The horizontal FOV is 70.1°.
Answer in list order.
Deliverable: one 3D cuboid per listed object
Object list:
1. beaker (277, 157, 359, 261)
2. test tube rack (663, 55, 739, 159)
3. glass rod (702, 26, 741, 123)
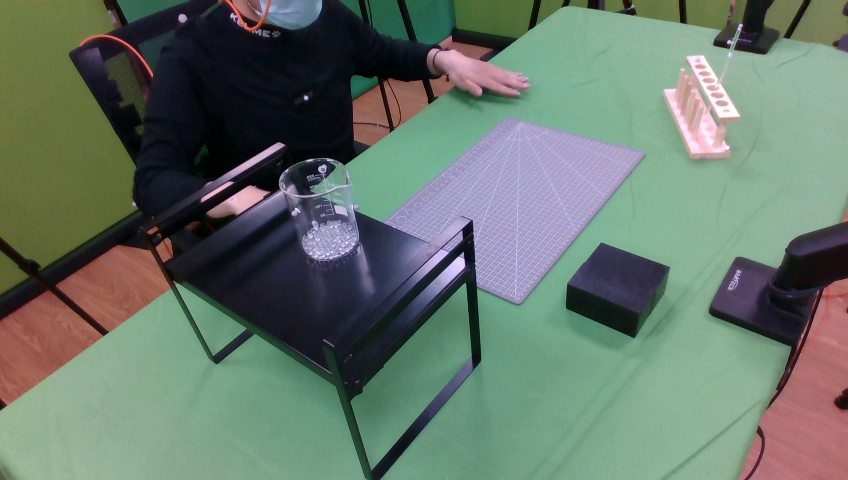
[{"bbox_3d":[-0.114,-0.033,0.688,0.084,0.101,0.074,5,43,13],"label":"beaker"},{"bbox_3d":[0.518,-0.256,1.144,0.066,0.085,0.241,-1,41,8],"label":"test tube rack"},{"bbox_3d":[0.527,-0.288,1.078,0.008,0.200,0.008,-1,50,2],"label":"glass rod"}]
